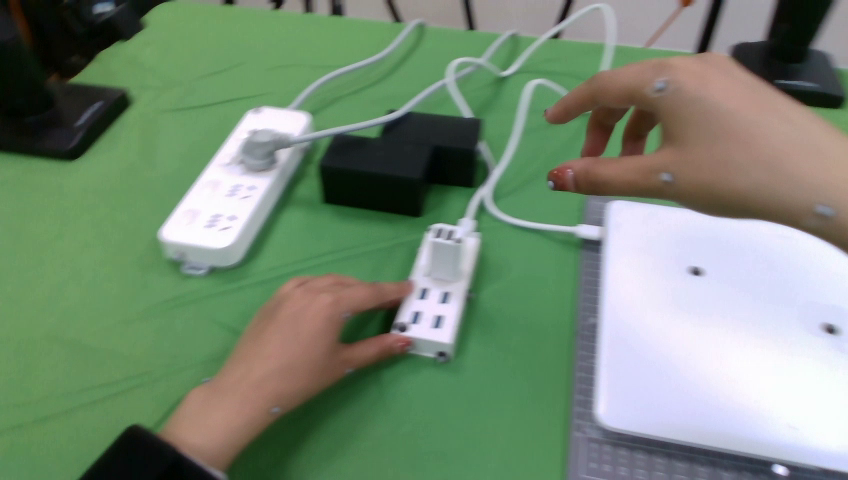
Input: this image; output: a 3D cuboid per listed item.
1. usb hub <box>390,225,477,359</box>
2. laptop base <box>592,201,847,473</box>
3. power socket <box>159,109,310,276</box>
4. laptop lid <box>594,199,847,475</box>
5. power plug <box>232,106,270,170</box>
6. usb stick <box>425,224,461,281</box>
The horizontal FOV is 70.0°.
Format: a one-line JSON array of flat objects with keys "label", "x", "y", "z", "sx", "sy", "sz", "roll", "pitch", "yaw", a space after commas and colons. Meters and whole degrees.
[{"label": "usb hub", "x": 0.011, "y": 0.040, "z": 0.514, "sx": 0.049, "sy": 0.025, "sz": 0.124, "roll": 9, "pitch": 47, "yaw": 10}, {"label": "laptop base", "x": 0.316, "y": 0.078, "z": 0.483, "sx": 0.354, "sy": 0.023, "sz": 0.233, "roll": 9, "pitch": 50, "yaw": 8}, {"label": "power socket", "x": -0.180, "y": -0.059, "z": 0.600, "sx": 0.072, "sy": 0.033, "sz": 0.225, "roll": 10, "pitch": 47, "yaw": 8}, {"label": "laptop lid", "x": 0.315, "y": 0.072, "z": 0.473, "sx": 0.356, "sy": 0.013, "sz": 0.240, "roll": 10, "pitch": 50, "yaw": 9}, {"label": "power plug", "x": -0.171, "y": -0.096, "z": 0.606, "sx": 0.035, "sy": 0.053, "sz": 0.072, "roll": 4, "pitch": 38, "yaw": -10}, {"label": "usb stick", "x": 0.015, "y": 0.015, "z": 0.497, "sx": 0.027, "sy": 0.060, "sz": 0.021, "roll": 8, "pitch": 47, "yaw": 9}]
